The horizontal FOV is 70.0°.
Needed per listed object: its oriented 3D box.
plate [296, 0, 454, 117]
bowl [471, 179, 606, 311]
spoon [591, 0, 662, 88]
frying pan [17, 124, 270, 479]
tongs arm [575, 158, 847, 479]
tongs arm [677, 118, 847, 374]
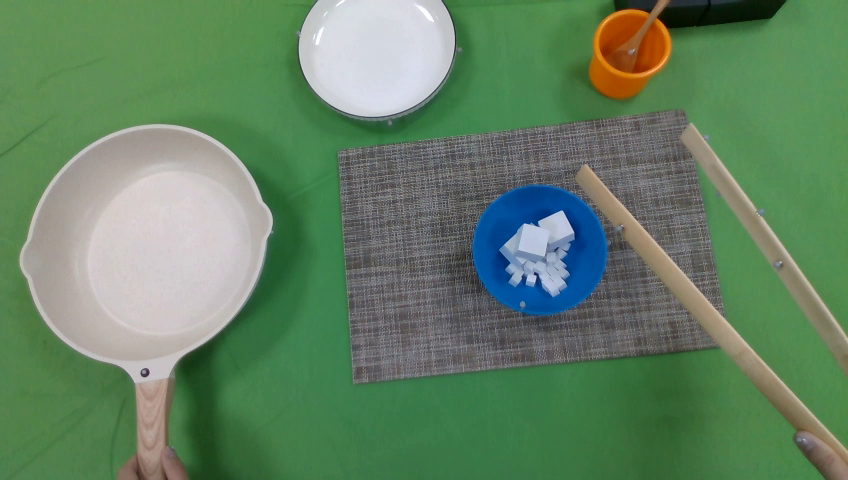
[{"bbox_3d":[-0.063,-0.257,0.801,0.207,0.039,0.206,-1,79,4],"label":"plate"},{"bbox_3d":[0.129,0.012,0.710,0.151,0.077,0.150,-1,79,3],"label":"bowl"},{"bbox_3d":[0.267,-0.268,0.727,0.041,0.194,0.021,43,39,14],"label":"spoon"},{"bbox_3d":[-0.317,0.100,0.710,0.307,0.103,0.484,-9,70,2],"label":"frying pan"},{"bbox_3d":[0.265,0.070,0.530,0.028,0.028,0.385,-28,70,-29],"label":"tongs arm"},{"bbox_3d":[0.331,0.044,0.557,0.051,0.026,0.381,-18,67,-21],"label":"tongs arm"}]
